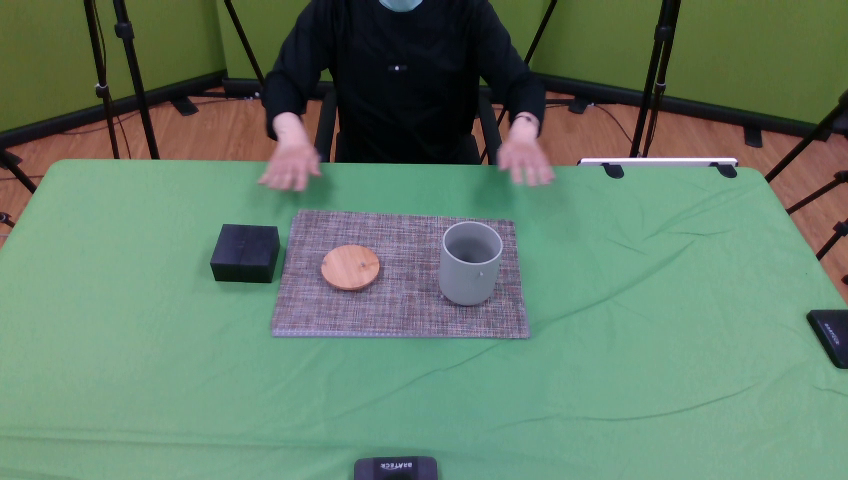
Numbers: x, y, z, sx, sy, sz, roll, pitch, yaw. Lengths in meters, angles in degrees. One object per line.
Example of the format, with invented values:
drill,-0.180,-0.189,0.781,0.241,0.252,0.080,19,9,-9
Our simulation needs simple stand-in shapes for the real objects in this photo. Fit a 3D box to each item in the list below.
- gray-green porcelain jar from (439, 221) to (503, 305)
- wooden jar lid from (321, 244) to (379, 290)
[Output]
gray-green porcelain jar,0.080,0.046,1.078,0.106,0.127,0.105,2,46,-2
wooden jar lid,-0.137,0.054,1.131,0.108,0.021,0.107,1,45,-1
